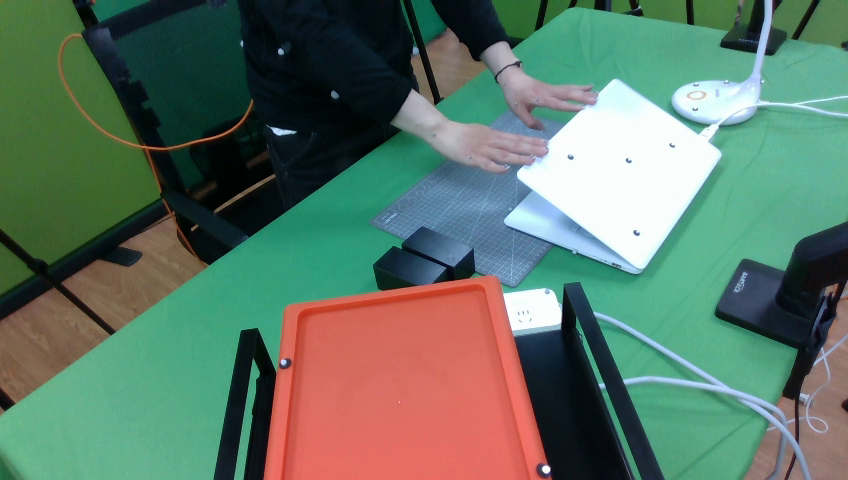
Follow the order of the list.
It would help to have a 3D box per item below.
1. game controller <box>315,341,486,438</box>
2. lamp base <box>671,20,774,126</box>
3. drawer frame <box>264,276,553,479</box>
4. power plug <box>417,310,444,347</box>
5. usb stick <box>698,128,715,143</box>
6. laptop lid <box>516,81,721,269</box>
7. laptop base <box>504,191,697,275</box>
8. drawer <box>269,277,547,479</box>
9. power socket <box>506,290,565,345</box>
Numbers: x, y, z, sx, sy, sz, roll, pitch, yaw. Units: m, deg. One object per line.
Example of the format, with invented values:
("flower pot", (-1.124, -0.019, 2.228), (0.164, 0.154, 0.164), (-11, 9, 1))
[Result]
("game controller", (-0.021, 0.120, 0.534), (0.155, 0.052, 0.096), (-3, 36, 0))
("lamp base", (0.581, -0.332, 1.154), (0.179, 0.181, 0.160), (2, 42, 7))
("drawer frame", (-0.016, 0.137, 0.490), (0.202, 0.083, 0.212), (-8, 41, -1))
("power plug", (0.007, 0.123, 0.784), (0.035, 0.053, 0.072), (-1, 42, 8))
("usb stick", (0.501, -0.176, 1.092), (0.021, 0.027, 0.059), (30, 56, 29))
("laptop lid", (0.329, -0.125, 0.982), (0.241, 0.013, 0.358), (40, 55, 12))
("laptop base", (0.325, -0.083, 1.028), (0.233, 0.023, 0.355), (21, 48, 32))
("drawer", (-0.018, 0.137, 0.493), (0.195, 0.073, 0.210), (-7, 41, -1))
("power socket", (0.081, 0.112, 0.822), (0.227, 0.033, 0.072), (-7, 41, 0))
